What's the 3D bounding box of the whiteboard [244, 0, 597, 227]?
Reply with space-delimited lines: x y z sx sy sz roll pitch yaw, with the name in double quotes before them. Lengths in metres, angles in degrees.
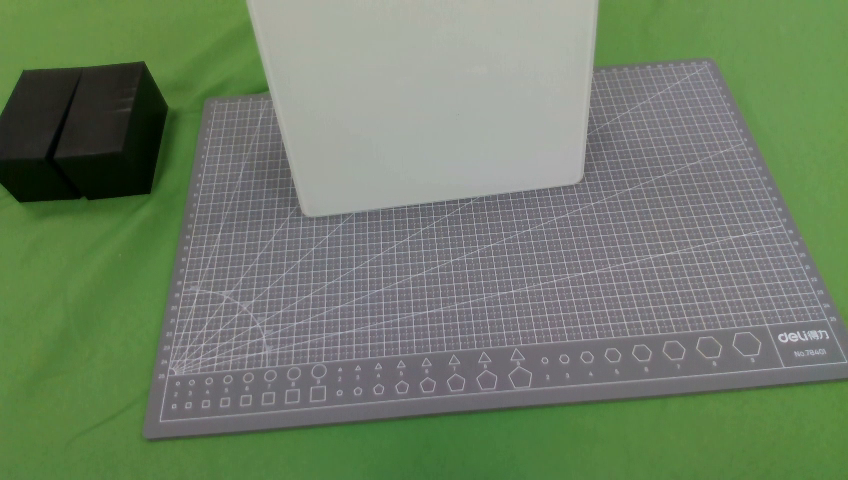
"whiteboard" -0.004 -0.185 0.422 0.217 0.308 0.142 -7 37 -1
